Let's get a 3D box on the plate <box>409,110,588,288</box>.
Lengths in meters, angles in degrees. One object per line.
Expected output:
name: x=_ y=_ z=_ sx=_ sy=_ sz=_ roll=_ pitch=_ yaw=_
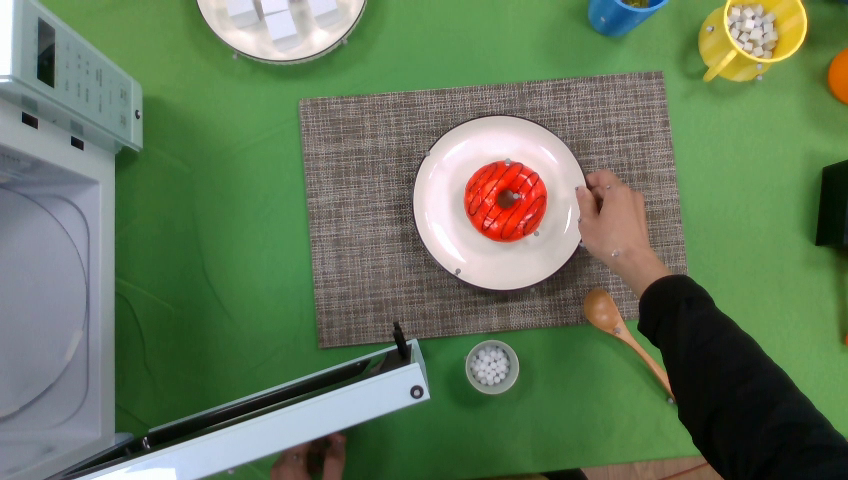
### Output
plate: x=0.086 y=-0.047 z=0.713 sx=0.209 sy=0.038 sz=0.208 roll=0 pitch=86 yaw=-1

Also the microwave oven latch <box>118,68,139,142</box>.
microwave oven latch: x=-0.344 y=-0.154 z=0.694 sx=0.030 sy=0.029 sz=0.079 roll=-1 pitch=86 yaw=-2

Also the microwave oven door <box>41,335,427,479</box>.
microwave oven door: x=-0.170 y=0.171 z=0.574 sx=0.356 sy=0.244 sz=0.039 roll=-19 pitch=85 yaw=-3

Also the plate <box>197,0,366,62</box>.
plate: x=-0.168 y=-0.312 z=0.730 sx=0.208 sy=0.039 sz=0.207 roll=0 pitch=86 yaw=-2

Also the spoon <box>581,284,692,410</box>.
spoon: x=0.252 y=0.130 z=0.715 sx=0.041 sy=0.021 sz=0.193 roll=-42 pitch=89 yaw=-20

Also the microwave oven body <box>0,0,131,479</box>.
microwave oven body: x=-0.484 y=0.019 z=0.581 sx=0.326 sy=0.260 sz=0.441 roll=-2 pitch=86 yaw=-2

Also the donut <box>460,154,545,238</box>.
donut: x=0.091 y=-0.051 z=0.703 sx=0.099 sy=0.048 sz=0.099 roll=0 pitch=87 yaw=0

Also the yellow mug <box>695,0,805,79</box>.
yellow mug: x=0.379 y=-0.243 z=0.727 sx=0.100 sy=0.064 sz=0.131 roll=43 pitch=87 yaw=2

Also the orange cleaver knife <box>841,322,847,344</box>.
orange cleaver knife: x=0.528 y=0.022 z=0.704 sx=0.012 sy=0.076 sz=0.212 roll=10 pitch=115 yaw=2

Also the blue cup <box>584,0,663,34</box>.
blue cup: x=0.231 y=-0.290 z=0.709 sx=0.093 sy=0.100 sz=0.092 roll=0 pitch=87 yaw=-2

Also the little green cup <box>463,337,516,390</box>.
little green cup: x=0.074 y=0.141 z=0.703 sx=0.061 sy=0.038 sz=0.061 roll=0 pitch=84 yaw=-1
